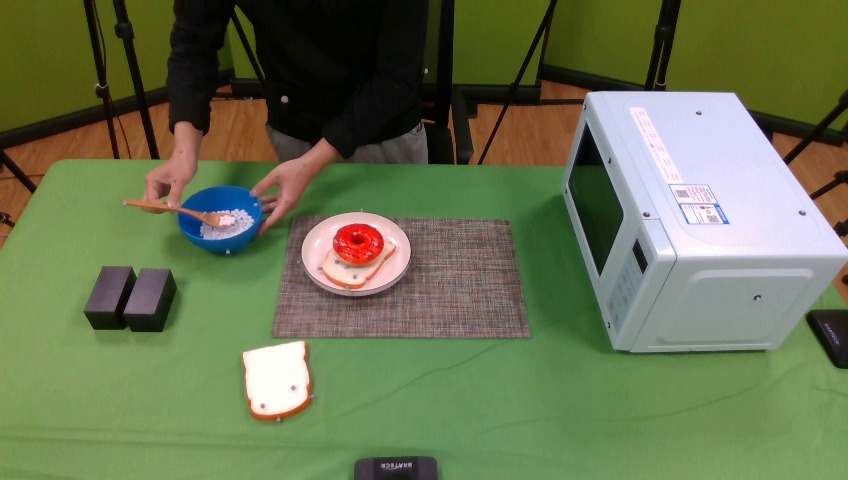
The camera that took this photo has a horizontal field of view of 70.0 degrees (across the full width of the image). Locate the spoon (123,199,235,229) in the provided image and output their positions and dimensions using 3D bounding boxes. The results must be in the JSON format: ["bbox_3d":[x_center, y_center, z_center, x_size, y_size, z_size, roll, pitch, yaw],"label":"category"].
[{"bbox_3d":[-0.439,-0.052,1.098,0.195,0.021,0.041,16,38,-35],"label":"spoon"}]

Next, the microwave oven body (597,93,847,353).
[{"bbox_3d":[0.475,-0.041,1.109,0.326,0.261,0.438,-1,45,-4],"label":"microwave oven body"}]

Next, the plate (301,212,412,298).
[{"bbox_3d":[-0.126,0.031,1.145,0.208,0.039,0.206,2,46,-2],"label":"plate"}]

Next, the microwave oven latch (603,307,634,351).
[{"bbox_3d":[0.332,0.153,1.044,0.030,0.029,0.078,0,45,-4],"label":"microwave oven latch"}]

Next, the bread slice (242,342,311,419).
[{"bbox_3d":[-0.233,0.223,0.970,0.105,0.019,0.130,-10,46,-12],"label":"bread slice"}]

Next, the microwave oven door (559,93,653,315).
[{"bbox_3d":[0.327,-0.074,1.123,0.039,0.245,0.353,-1,46,-5],"label":"microwave oven door"}]

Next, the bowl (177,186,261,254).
[{"bbox_3d":[-0.383,-0.026,1.157,0.151,0.077,0.150,3,46,-3],"label":"bowl"}]

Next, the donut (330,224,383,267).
[{"bbox_3d":[-0.125,0.010,1.127,0.099,0.048,0.098,3,45,-3],"label":"donut"}]

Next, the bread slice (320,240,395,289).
[{"bbox_3d":[-0.129,0.037,1.141,0.107,0.018,0.134,19,47,14],"label":"bread slice"}]
